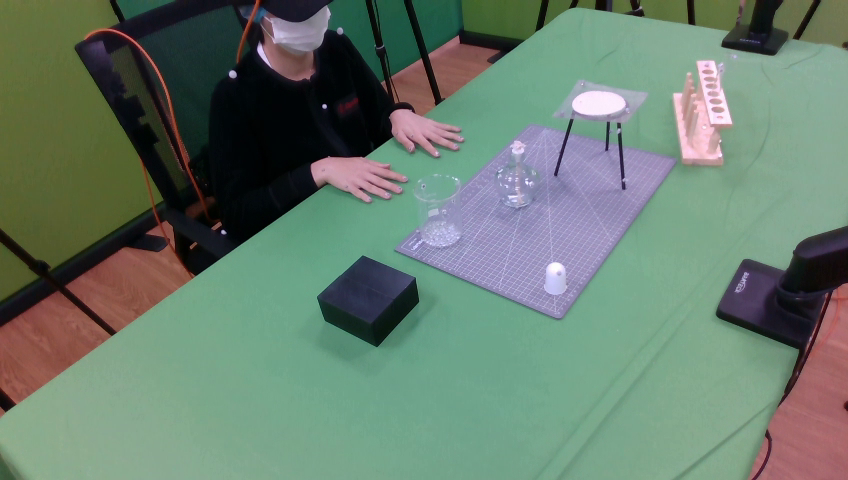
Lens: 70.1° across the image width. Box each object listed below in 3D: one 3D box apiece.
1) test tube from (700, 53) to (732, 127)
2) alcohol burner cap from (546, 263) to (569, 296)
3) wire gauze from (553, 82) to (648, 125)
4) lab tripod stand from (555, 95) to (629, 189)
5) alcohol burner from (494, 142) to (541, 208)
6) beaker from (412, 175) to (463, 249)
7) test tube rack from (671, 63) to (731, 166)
[{"bbox_3d":[0.521,-0.265,1.081,0.017,0.151,0.017,-3,47,3],"label":"test tube"},{"bbox_3d":[0.191,0.053,0.862,0.034,0.048,0.033,-5,40,4],"label":"alcohol burner cap"},{"bbox_3d":[0.293,-0.225,1.002,0.120,0.011,0.125,17,45,27],"label":"wire gauze"},{"bbox_3d":[0.300,-0.174,1.045,0.148,0.132,0.147,-5,38,5],"label":"lab tripod stand"},{"bbox_3d":[0.157,-0.113,1.011,0.078,0.119,0.077,-3,41,3],"label":"alcohol burner"},{"bbox_3d":[0.027,-0.043,0.959,0.084,0.101,0.073,-26,43,-22],"label":"beaker"},{"bbox_3d":[0.513,-0.240,1.132,0.066,0.085,0.242,4,41,14],"label":"test tube rack"}]
